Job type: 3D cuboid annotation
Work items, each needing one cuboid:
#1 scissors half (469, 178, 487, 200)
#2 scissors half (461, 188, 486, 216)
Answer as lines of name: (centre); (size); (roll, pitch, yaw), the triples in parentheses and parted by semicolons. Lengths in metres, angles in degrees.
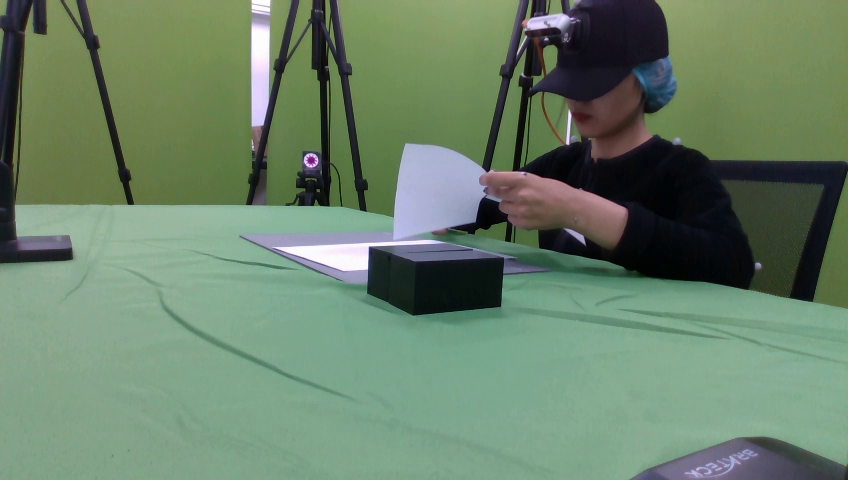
scissors half: (0.095, -0.086, 1.033); (0.013, 0.040, 0.175); (22, 7, -3)
scissors half: (0.086, -0.068, 1.032); (0.013, 0.040, 0.175); (27, -11, -3)
